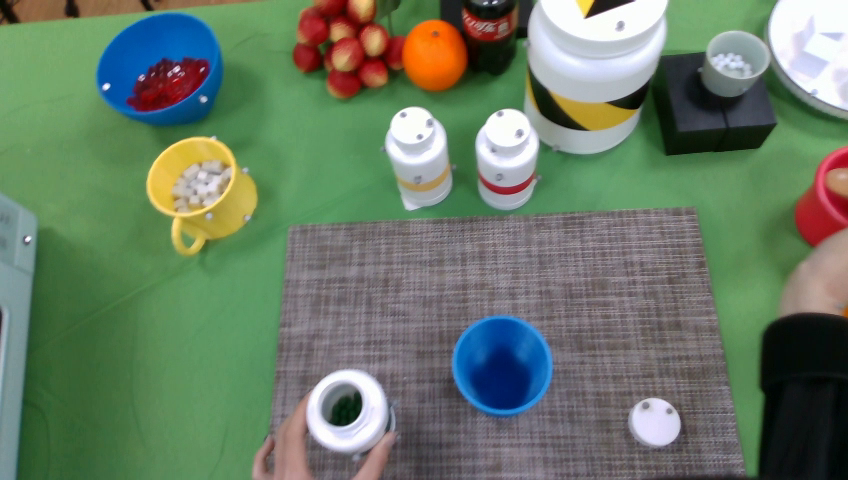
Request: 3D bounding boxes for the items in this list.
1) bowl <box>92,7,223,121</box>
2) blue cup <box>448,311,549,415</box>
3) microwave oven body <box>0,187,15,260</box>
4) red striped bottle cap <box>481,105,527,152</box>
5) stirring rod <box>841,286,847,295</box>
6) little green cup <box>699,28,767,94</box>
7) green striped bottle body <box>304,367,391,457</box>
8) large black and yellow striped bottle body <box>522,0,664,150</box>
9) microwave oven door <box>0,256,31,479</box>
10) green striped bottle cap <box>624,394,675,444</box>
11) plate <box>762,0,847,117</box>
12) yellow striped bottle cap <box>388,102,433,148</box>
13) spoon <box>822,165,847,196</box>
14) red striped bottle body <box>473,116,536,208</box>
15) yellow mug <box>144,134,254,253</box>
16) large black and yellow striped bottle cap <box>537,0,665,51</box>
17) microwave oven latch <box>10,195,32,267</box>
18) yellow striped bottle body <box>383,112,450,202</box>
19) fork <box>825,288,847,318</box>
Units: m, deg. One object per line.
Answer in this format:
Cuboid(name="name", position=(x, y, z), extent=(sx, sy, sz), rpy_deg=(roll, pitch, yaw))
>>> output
Cuboid(name="bowl", position=(-0.311, -0.200, 0.745), extent=(0.151, 0.077, 0.150), rpy_deg=(-2, 68, 5))
Cuboid(name="blue cup", position=(0.066, 0.121, 0.556), extent=(0.092, 0.101, 0.092), rpy_deg=(-2, 66, 4))
Cuboid(name="microwave oven body", position=(-0.591, 0.143, 0.531), extent=(0.326, 0.262, 0.438), rpy_deg=(-11, 68, 1))
Cuboid(name="red striped bottle cap", position=(0.078, -0.109, 0.586), extent=(0.044, 0.018, 0.044), rpy_deg=(0, 66, 1))
Cuboid(name="stirring rod", position=(0.414, 0.083, 0.521), extent=(0.014, 0.006, 0.175), rpy_deg=(-2, 24, 5))
Cuboid(name="little green cup", position=(0.322, -0.187, 0.638), extent=(0.061, 0.039, 0.061), rpy_deg=(-2, 66, 5))
Cuboid(name="green striped bottle body", position=(-0.062, 0.144, 0.506), extent=(0.063, 0.120, 0.062), rpy_deg=(-1, 66, 2))
Cuboid(name="large black and yellow striped bottle body", position=(0.171, -0.193, 0.633), extent=(0.130, 0.185, 0.130), rpy_deg=(-2, 67, 6))
Cuboid(name="microwave oven door", position=(-0.441, 0.151, 0.507), extent=(0.039, 0.246, 0.353), rpy_deg=(-12, 67, 2))
Cuboid(name="green striped bottle cap", position=(0.211, 0.168, 0.568), extent=(0.044, 0.020, 0.044), rpy_deg=(-2, 62, 4))
Cuboid(name="plate", position=(0.491, -0.222, 0.690), extent=(0.209, 0.038, 0.207), rpy_deg=(-2, 68, 5))
Cuboid(name="yellow striped bottle cap", position=(-0.013, -0.114, 0.598), extent=(0.044, 0.019, 0.044), rpy_deg=(-2, 68, 5))
Cuboid(name="spoon", position=(0.402, -0.029, 0.503), extent=(0.041, 0.192, 0.022), rpy_deg=(-3, 111, -1))
Cuboid(name="red striped bottle body", position=(0.085, -0.087, 0.634), extent=(0.063, 0.121, 0.062), rpy_deg=(-4, 65, 9))
Cuboid(name="yellow mug", position=(-0.256, -0.048, 0.683), extent=(0.100, 0.064, 0.130), rpy_deg=(7, 69, 8))
Cuboid(name="large black and yellow striped bottle cap", position=(0.162, -0.224, 0.555), extent=(0.115, 0.019, 0.114), rpy_deg=(-2, 66, 6))
Cuboid(name="microwave oven latch", position=(-0.466, -0.009, 0.684), extent=(0.030, 0.030, 0.078), rpy_deg=(-9, 68, 2))
Cuboid(name="yellow striped bottle body", position=(-0.007, -0.094, 0.646), extent=(0.063, 0.121, 0.062), rpy_deg=(-2, 67, 6))
Cuboid(name="fork", position=(0.443, 0.083, 0.510), extent=(0.028, 0.019, 0.205), rpy_deg=(-40, 25, -9))
